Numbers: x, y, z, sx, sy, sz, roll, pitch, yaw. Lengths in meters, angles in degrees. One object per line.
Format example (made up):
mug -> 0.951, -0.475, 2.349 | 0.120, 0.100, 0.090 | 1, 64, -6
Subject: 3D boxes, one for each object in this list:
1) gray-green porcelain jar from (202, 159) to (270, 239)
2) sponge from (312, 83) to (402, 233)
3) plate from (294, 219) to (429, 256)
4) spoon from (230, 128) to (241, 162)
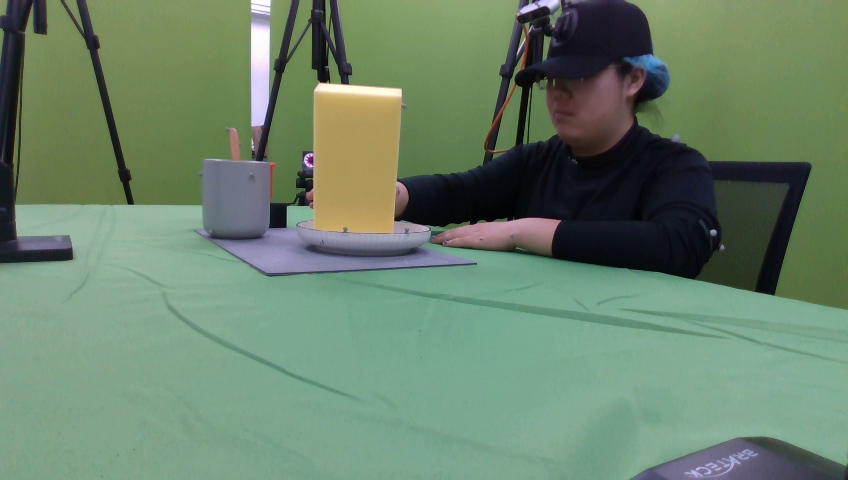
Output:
gray-green porcelain jar -> -0.310, -0.068, 0.999 | 0.106, 0.126, 0.106 | 3, 8, 0
sponge -> -0.097, -0.112, 0.866 | 0.118, 0.207, 0.061 | 4, 25, -4
plate -> -0.096, -0.005, 0.936 | 0.208, 0.039, 0.207 | 3, 7, 0
spoon -> -0.314, -0.109, 1.025 | 0.042, 0.193, 0.021 | -5, -19, -16
